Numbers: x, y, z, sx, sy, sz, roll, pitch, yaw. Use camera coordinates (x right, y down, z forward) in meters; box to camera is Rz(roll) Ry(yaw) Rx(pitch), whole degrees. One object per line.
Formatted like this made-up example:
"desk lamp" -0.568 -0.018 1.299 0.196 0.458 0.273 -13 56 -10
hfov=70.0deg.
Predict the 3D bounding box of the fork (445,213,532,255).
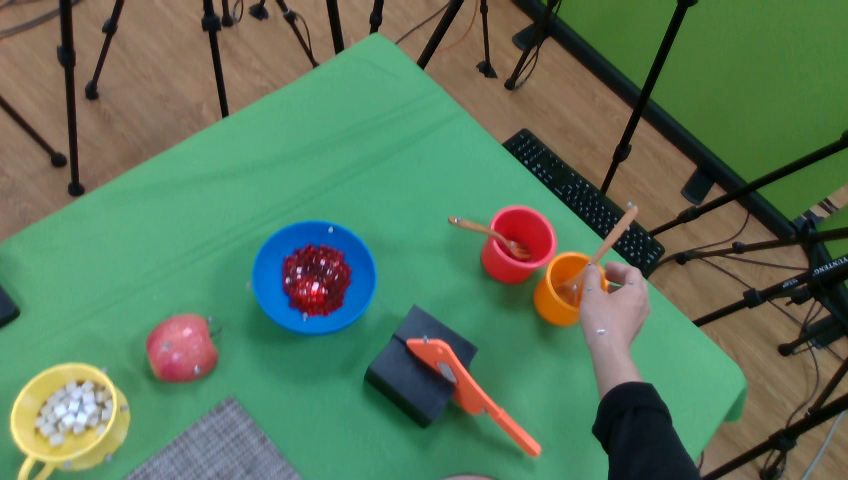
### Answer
"fork" 0.092 -0.007 0.821 0.209 0.018 0.028 21 47 -52

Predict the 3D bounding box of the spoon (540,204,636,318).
"spoon" 0.229 0.030 0.836 0.041 0.194 0.021 39 16 10

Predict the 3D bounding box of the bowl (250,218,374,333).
"bowl" -0.142 0.055 0.771 0.152 0.077 0.150 6 62 -11

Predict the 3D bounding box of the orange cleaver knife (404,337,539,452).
"orange cleaver knife" 0.058 0.190 0.748 0.212 0.077 0.012 47 52 -12

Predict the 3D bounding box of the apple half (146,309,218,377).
"apple half" -0.289 0.118 0.716 0.075 0.053 0.080 -16 68 -18

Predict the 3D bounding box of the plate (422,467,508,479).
"plate" 0.047 0.365 0.679 0.210 0.038 0.207 6 62 -11

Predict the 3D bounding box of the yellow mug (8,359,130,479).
"yellow mug" -0.383 0.197 0.644 0.100 0.064 0.130 25 60 0
